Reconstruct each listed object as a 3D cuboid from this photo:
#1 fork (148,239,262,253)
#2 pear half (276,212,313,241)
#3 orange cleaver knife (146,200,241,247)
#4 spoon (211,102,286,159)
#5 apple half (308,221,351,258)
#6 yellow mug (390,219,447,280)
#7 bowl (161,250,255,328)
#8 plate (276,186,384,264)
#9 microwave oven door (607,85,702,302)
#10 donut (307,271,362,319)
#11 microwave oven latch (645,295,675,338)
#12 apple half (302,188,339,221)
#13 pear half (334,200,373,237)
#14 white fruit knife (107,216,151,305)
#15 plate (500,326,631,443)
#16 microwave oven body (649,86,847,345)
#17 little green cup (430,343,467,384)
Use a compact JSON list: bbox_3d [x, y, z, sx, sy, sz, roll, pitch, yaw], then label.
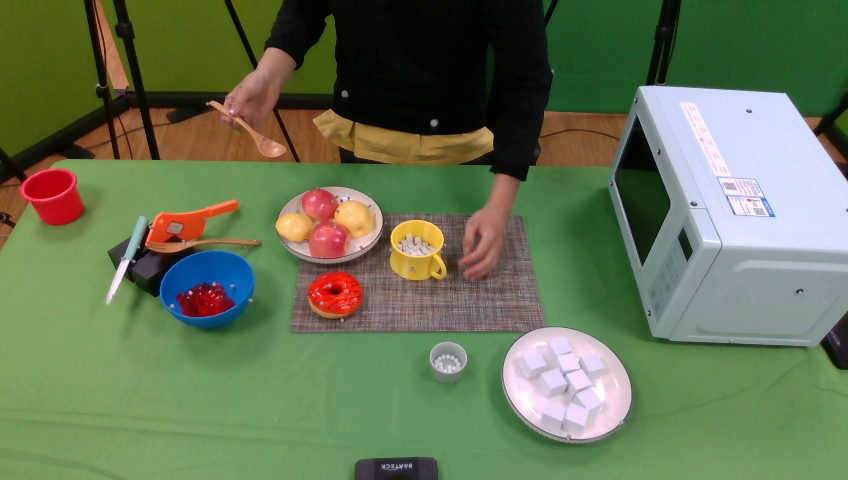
[{"bbox_3d":[-0.398,0.008,1.117,0.208,0.019,0.028,-5,34,-37],"label":"fork"},{"bbox_3d":[-0.244,-0.035,1.178,0.070,0.031,0.088,40,41,1],"label":"pear half"},{"bbox_3d":[-0.435,-0.033,1.157,0.012,0.077,0.211,31,26,19],"label":"orange cleaver knife"},{"bbox_3d":[-0.327,-0.206,1.117,0.193,0.022,0.041,40,59,15],"label":"spoon"},{"bbox_3d":[-0.180,-0.005,1.150,0.074,0.053,0.080,14,43,9],"label":"apple half"},{"bbox_3d":[-0.003,0.027,1.136,0.100,0.064,0.130,-32,57,-30],"label":"yellow mug"},{"bbox_3d":[-0.362,0.097,1.040,0.151,0.077,0.150,2,45,-2],"label":"bowl"},{"bbox_3d":[-0.184,-0.027,1.194,0.209,0.038,0.208,2,46,-2],"label":"plate"},{"bbox_3d":[0.423,-0.094,1.140,0.039,0.245,0.353,2,46,-1],"label":"microwave oven door"},{"bbox_3d":[-0.157,0.097,1.072,0.099,0.048,0.098,4,45,-4],"label":"donut"},{"bbox_3d":[0.412,0.134,1.061,0.030,0.029,0.078,3,45,0],"label":"microwave oven latch"},{"bbox_3d":[-0.205,-0.076,1.217,0.081,0.033,0.081,18,46,-19],"label":"apple half"},{"bbox_3d":[-0.147,-0.059,1.209,0.076,0.056,0.109,-16,42,-26],"label":"pear half"},{"bbox_3d":[-0.518,0.032,1.066,0.027,0.016,0.206,-18,45,19],"label":"white fruit knife"},{"bbox_3d":[0.224,0.234,0.978,0.208,0.039,0.206,2,46,-2],"label":"plate"},{"bbox_3d":[0.568,-0.053,1.118,0.326,0.261,0.439,2,45,-1],"label":"microwave oven body"},{"bbox_3d":[0.039,0.203,0.993,0.061,0.039,0.061,2,46,-2],"label":"little green cup"}]
